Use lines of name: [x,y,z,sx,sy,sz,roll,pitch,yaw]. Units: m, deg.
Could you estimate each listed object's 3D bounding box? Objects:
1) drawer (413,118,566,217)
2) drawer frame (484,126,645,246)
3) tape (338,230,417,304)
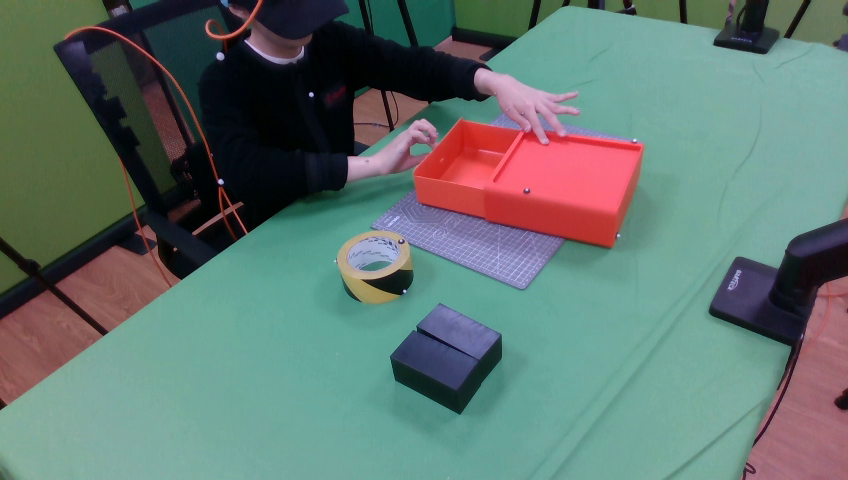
drawer: [0.119,-0.125,1.055,0.210,0.073,0.195,15,44,25]
drawer frame: [0.234,-0.096,1.003,0.212,0.083,0.202,13,44,22]
tape: [-0.069,0.041,0.917,0.117,0.053,0.116,-5,41,4]
